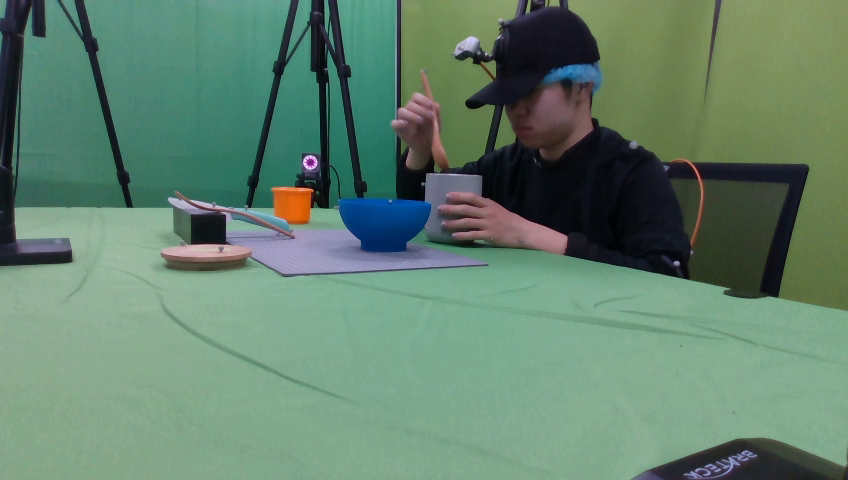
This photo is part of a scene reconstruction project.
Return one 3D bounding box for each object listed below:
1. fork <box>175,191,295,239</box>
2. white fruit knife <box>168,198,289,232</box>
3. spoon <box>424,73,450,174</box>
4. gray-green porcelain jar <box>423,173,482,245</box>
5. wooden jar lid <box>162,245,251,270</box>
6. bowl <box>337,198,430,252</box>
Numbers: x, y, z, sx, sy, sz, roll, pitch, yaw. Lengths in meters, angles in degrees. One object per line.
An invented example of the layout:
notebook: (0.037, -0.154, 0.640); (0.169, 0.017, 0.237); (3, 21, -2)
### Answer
fork: (-0.305, -0.039, 0.993); (0.208, 0.018, 0.028); (19, -9, -34)
white fruit knife: (-0.329, -0.044, 1.036); (0.208, 0.027, 0.016); (14, -1, -32)
spoon: (0.022, -0.215, 1.110); (0.022, 0.193, 0.041); (-5, -9, -22)
gray-green porcelain jar: (0.052, -0.058, 1.115); (0.106, 0.126, 0.106); (3, 8, 0)
wooden jar lid: (-0.278, 0.022, 0.777); (0.108, 0.020, 0.108); (2, 6, 0)
bowl: (-0.066, -0.024, 0.966); (0.151, 0.077, 0.151); (2, 7, 0)
